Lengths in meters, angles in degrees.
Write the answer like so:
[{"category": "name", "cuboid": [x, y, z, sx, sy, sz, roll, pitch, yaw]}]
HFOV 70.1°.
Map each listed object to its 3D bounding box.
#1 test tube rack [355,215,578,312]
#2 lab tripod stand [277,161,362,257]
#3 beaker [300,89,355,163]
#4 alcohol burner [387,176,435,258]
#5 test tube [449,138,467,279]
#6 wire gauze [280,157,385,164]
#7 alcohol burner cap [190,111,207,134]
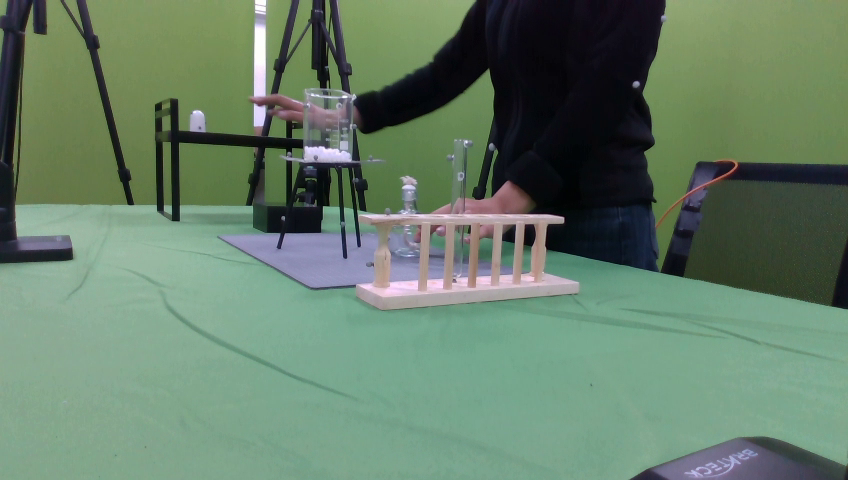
[{"category": "test tube rack", "cuboid": [0.053, 0.018, 0.641, 0.243, 0.085, 0.066, -1, 8, -29]}, {"category": "lab tripod stand", "cuboid": [-0.143, -0.049, 0.884, 0.148, 0.131, 0.148, 2, 9, 0]}, {"category": "beaker", "cuboid": [-0.136, -0.161, 0.867, 0.083, 0.100, 0.074, 5, 8, 24]}, {"category": "alcohol burner", "cuboid": [-0.022, -0.034, 0.892, 0.078, 0.119, 0.078, 2, 6, 0]}, {"category": "test tube", "cuboid": [0.035, -0.033, 0.645, 0.017, 0.150, 0.017, 2, 4, 0]}, {"category": "wire gauze", "cuboid": [-0.134, -0.113, 0.875, 0.122, 0.011, 0.124, -1, 6, -30]}, {"category": "alcohol burner cap", "cuboid": [-0.469, -0.244, 1.257, 0.034, 0.048, 0.034, 1, 6, 0]}]
